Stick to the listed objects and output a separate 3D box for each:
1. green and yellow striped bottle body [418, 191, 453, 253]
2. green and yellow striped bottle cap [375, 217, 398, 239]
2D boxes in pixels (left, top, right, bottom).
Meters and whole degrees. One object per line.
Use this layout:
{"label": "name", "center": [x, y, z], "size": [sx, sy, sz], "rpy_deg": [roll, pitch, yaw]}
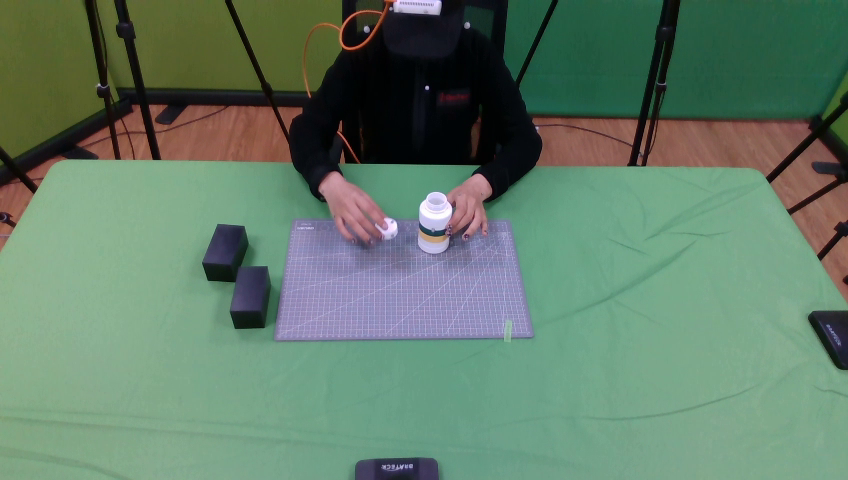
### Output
{"label": "green and yellow striped bottle body", "center": [0.022, -0.036, 1.160], "size": [0.063, 0.120, 0.063], "rpy_deg": [2, 46, -2]}
{"label": "green and yellow striped bottle cap", "center": [-0.071, -0.023, 1.153], "size": [0.045, 0.020, 0.045], "rpy_deg": [0, 44, 1]}
